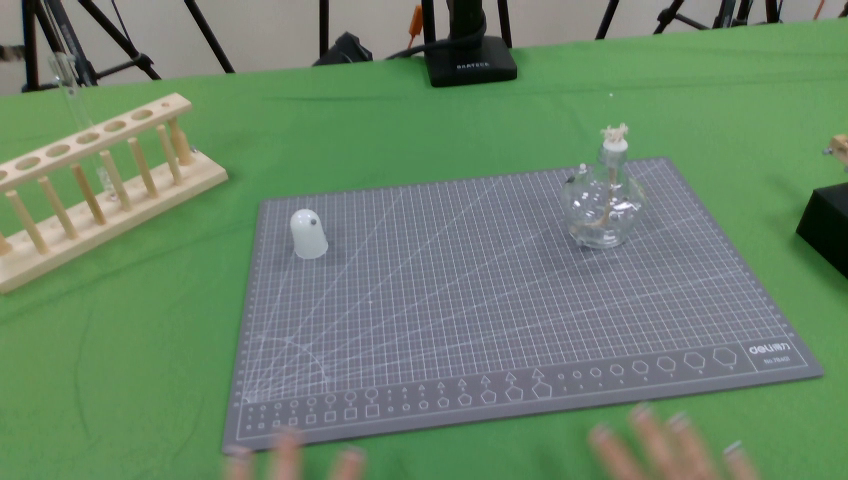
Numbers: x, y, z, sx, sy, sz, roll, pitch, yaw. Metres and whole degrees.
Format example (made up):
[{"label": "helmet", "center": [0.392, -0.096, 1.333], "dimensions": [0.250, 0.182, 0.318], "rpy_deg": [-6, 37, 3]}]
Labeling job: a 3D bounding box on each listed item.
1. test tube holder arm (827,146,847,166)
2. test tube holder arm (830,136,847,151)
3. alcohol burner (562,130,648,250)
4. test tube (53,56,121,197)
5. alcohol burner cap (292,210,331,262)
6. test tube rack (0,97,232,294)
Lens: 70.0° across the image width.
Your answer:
[{"label": "test tube holder arm", "center": [0.418, -0.037, 0.519], "dimensions": [0.015, 0.013, 0.176], "rpy_deg": [-11, 41, -9]}, {"label": "test tube holder arm", "center": [0.407, -0.069, 0.549], "dimensions": [0.015, 0.010, 0.087], "rpy_deg": [-11, 41, -9]}, {"label": "alcohol burner", "center": [0.166, -0.049, 0.550], "dimensions": [0.078, 0.120, 0.077], "rpy_deg": [-1, 44, 2]}, {"label": "test tube", "center": [-0.331, -0.108, 0.602], "dimensions": [0.017, 0.151, 0.017], "rpy_deg": [-1, 38, 1]}, {"label": "alcohol burner cap", "center": [-0.109, -0.007, 0.576], "dimensions": [0.034, 0.048, 0.033], "rpy_deg": [-2, 42, 2]}, {"label": "test tube rack", "center": [-0.328, -0.053, 0.615], "dimensions": [0.242, 0.086, 0.066], "rpy_deg": [-35, 50, -31]}]
